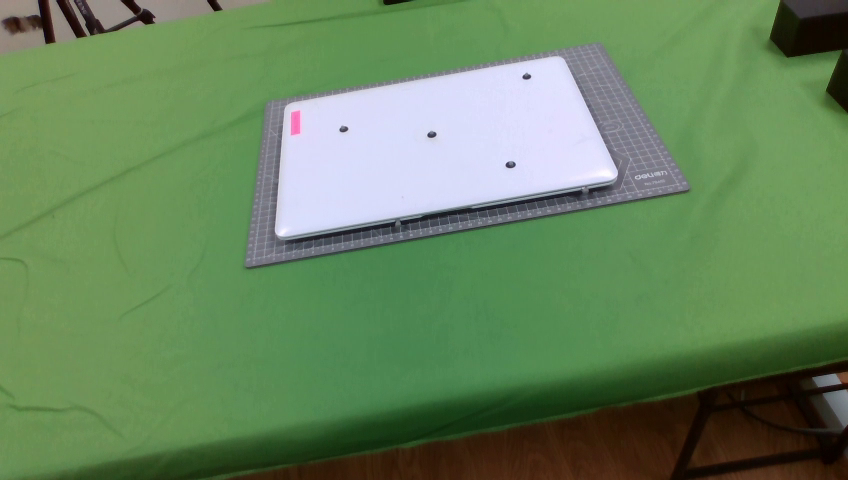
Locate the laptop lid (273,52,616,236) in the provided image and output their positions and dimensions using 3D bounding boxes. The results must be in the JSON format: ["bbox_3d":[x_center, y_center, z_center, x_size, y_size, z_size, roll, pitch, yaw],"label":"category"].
[{"bbox_3d":[0.009,-0.119,0.677,0.357,0.013,0.239,-9,49,2],"label":"laptop lid"}]

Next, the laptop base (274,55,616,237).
[{"bbox_3d":[0.010,-0.112,0.688,0.354,0.023,0.233,-10,50,1],"label":"laptop base"}]
